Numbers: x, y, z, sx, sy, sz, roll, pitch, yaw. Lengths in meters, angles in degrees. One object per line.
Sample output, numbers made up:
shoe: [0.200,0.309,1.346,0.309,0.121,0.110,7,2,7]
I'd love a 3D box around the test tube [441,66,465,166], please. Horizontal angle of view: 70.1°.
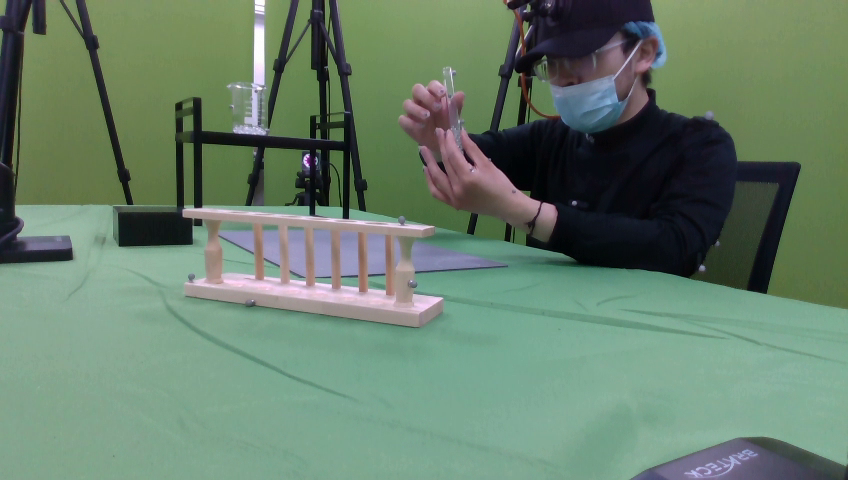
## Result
test tube: [0.043,-0.183,0.890,0.017,0.150,0.017,-8,-6,-1]

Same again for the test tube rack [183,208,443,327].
test tube rack: [-0.106,0.019,0.570,0.241,0.085,0.067,5,8,19]

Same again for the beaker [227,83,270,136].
beaker: [-0.354,-0.262,1.224,0.084,0.100,0.073,-2,8,-28]
